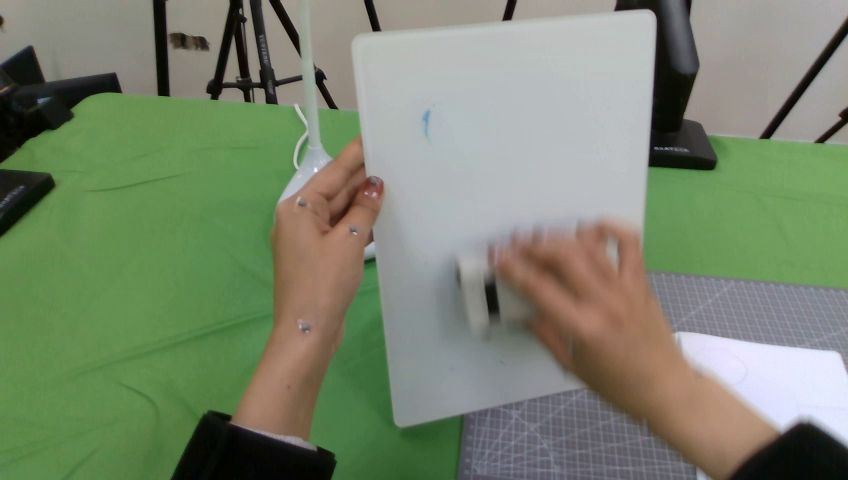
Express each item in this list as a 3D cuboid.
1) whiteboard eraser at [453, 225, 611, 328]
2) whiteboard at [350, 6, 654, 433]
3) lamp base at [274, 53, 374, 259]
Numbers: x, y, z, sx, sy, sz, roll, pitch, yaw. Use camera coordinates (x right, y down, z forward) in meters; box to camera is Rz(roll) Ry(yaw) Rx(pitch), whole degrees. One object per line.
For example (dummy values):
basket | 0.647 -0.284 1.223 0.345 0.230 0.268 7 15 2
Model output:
whiteboard eraser | 0.080 0.026 0.451 0.113 0.056 0.041 -12 23 -7
whiteboard | 0.055 -0.026 0.516 0.218 0.307 0.142 -9 21 -11
lamp base | -0.098 -0.098 0.653 0.161 0.182 0.177 -28 45 -31
